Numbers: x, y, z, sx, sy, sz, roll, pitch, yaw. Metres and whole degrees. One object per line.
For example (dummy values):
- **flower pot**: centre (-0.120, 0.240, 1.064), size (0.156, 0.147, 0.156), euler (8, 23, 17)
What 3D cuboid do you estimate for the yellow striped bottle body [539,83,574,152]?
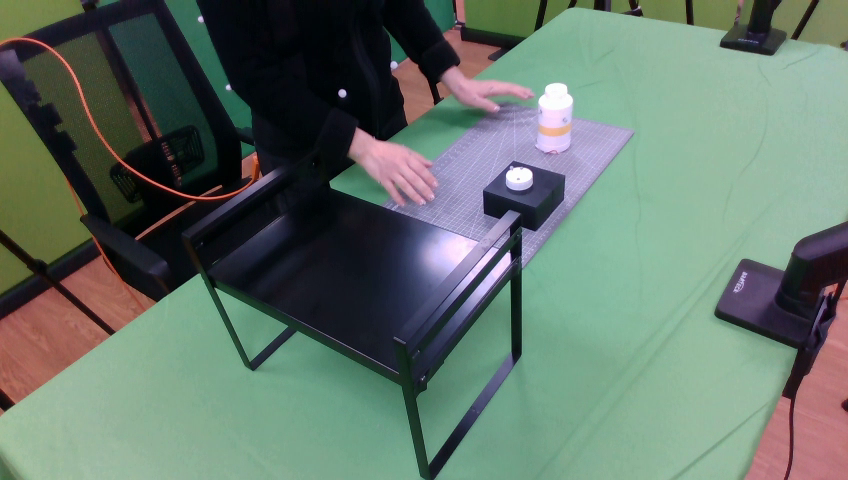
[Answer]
- **yellow striped bottle body**: centre (0.246, -0.230, 1.127), size (0.063, 0.121, 0.062), euler (-5, 41, 5)

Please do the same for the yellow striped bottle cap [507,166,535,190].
- **yellow striped bottle cap**: centre (0.159, -0.103, 0.995), size (0.044, 0.019, 0.044), euler (-7, 40, 6)
